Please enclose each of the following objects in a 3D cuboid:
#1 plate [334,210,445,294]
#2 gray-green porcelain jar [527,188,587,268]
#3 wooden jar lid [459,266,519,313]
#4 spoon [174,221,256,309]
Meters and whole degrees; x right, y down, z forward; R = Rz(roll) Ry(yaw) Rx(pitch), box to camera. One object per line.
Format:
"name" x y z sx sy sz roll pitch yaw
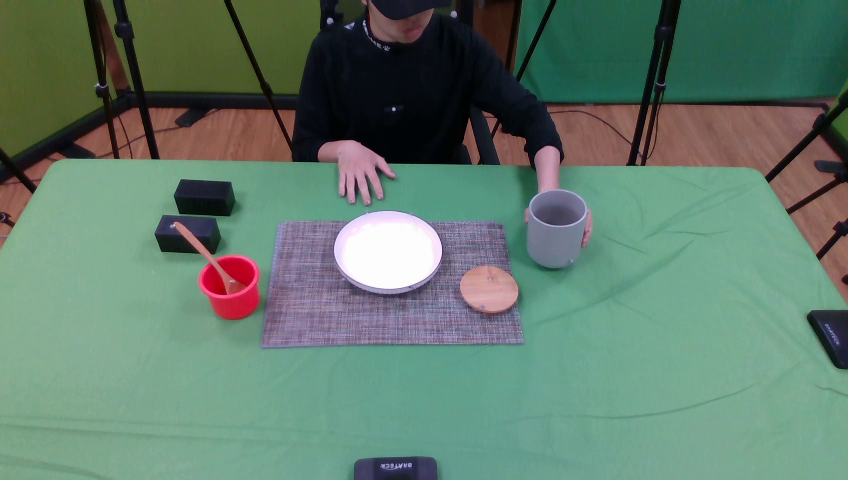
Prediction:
"plate" -0.066 0.026 1.150 0.208 0.039 0.206 2 46 -2
"gray-green porcelain jar" 0.249 -0.018 1.150 0.106 0.127 0.105 -3 46 3
"wooden jar lid" 0.118 0.093 1.111 0.108 0.021 0.107 1 47 -1
"spoon" -0.360 0.043 1.044 0.194 0.021 0.041 54 51 -14
